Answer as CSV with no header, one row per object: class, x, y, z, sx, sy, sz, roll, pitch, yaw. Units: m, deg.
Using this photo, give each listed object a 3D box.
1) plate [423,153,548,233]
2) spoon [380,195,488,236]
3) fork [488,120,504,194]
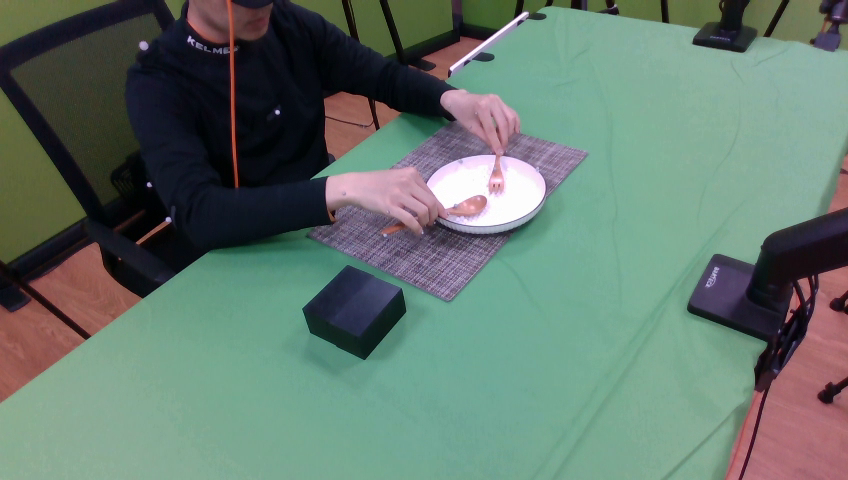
plate,0.105,-0.076,1.024,0.209,0.038,0.208,-4,40,4
spoon,0.017,-0.040,0.967,0.195,0.022,0.041,-15,40,-23
fork,0.133,-0.153,1.086,0.028,0.019,0.206,2,51,8
